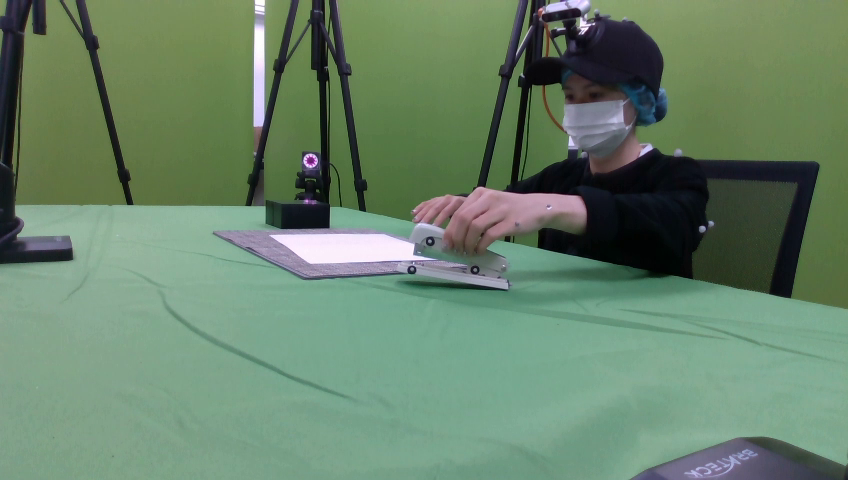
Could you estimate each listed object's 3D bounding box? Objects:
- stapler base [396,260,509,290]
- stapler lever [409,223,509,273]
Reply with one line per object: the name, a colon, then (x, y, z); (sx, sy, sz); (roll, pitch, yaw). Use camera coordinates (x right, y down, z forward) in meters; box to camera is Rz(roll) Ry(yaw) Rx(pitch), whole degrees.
stapler base: (0.034, 0.033, 0.692); (0.130, 0.024, 0.041); (11, 5, 4)
stapler lever: (0.040, 0.009, 0.691); (0.118, 0.040, 0.027); (11, 6, 4)
